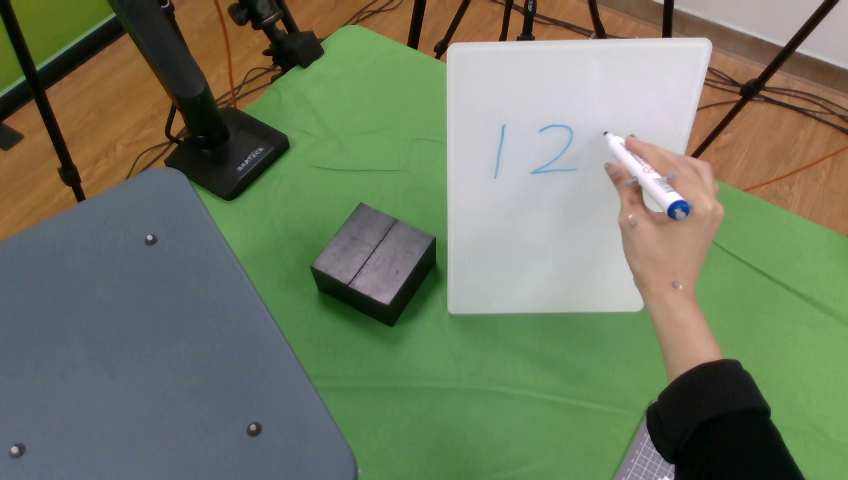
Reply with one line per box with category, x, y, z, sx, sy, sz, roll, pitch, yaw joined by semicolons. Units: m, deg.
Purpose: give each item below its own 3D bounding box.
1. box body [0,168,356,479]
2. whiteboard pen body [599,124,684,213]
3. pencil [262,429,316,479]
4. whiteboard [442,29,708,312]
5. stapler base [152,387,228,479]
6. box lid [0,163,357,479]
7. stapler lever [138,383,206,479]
box body;-0.246;0.147;0.535;0.254;0.162;0.360;-31;62;-17
whiteboard pen body;0.166;-0.062;0.479;0.017;0.017;0.139;-8;35;-4
pencil;-0.168;0.245;0.552;0.012;0.012;0.193;32;52;20
whiteboard;0.127;-0.085;0.632;0.217;0.308;0.142;-1;38;1
stapler base;-0.229;0.199;0.572;0.041;0.025;0.129;2;59;24
box lid;-0.248;0.105;0.474;0.263;0.015;0.368;-31;63;-17
stapler lever;-0.236;0.188;0.553;0.026;0.040;0.117;1;58;24
